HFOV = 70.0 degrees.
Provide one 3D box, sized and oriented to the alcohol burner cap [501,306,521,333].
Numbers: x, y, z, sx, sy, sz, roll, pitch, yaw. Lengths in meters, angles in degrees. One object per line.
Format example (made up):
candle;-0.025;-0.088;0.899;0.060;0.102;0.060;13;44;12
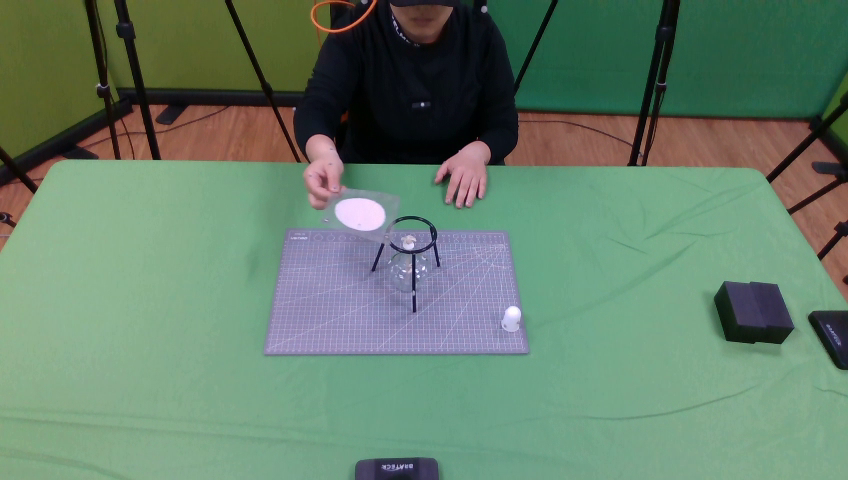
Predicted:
alcohol burner cap;0.155;0.137;1.061;0.034;0.048;0.033;1;45;-1

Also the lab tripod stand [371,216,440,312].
lab tripod stand;-0.029;0.033;1.084;0.148;0.132;0.147;1;47;-1

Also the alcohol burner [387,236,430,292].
alcohol burner;-0.028;0.038;1.093;0.078;0.120;0.077;1;46;-1

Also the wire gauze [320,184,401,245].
wire gauze;-0.106;-0.048;1.030;0.125;0.011;0.121;13;41;-3
